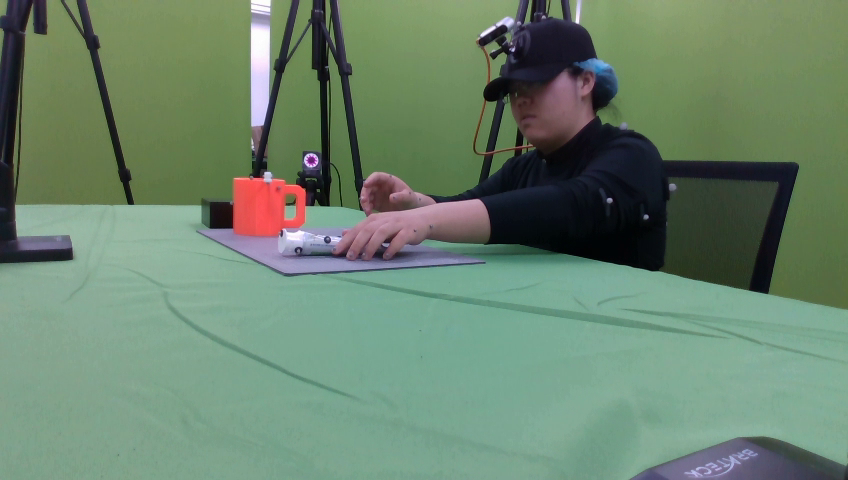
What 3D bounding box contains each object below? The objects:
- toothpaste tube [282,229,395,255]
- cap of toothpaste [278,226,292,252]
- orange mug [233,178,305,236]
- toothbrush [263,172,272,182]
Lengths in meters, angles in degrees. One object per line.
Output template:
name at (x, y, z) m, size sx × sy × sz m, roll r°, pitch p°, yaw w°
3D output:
toothpaste tube at (-0.124, 0.007, 0.867) m, size 0.166 × 0.034 × 0.055 m, roll 6°, pitch 10°, yaw -35°
cap of toothpaste at (-0.189, -0.001, 0.825) m, size 0.011 × 0.037 × 0.037 m, roll 8°, pitch 3°, yaw -31°
orange mug at (-0.273, -0.061, 1.067) m, size 0.127 × 0.101 × 0.083 m, roll -5°, pitch 10°, yaw -24°
toothbrush at (-0.273, -0.112, 1.055) m, size 0.014 × 0.016 × 0.181 m, roll -7°, pitch 9°, yaw -13°
